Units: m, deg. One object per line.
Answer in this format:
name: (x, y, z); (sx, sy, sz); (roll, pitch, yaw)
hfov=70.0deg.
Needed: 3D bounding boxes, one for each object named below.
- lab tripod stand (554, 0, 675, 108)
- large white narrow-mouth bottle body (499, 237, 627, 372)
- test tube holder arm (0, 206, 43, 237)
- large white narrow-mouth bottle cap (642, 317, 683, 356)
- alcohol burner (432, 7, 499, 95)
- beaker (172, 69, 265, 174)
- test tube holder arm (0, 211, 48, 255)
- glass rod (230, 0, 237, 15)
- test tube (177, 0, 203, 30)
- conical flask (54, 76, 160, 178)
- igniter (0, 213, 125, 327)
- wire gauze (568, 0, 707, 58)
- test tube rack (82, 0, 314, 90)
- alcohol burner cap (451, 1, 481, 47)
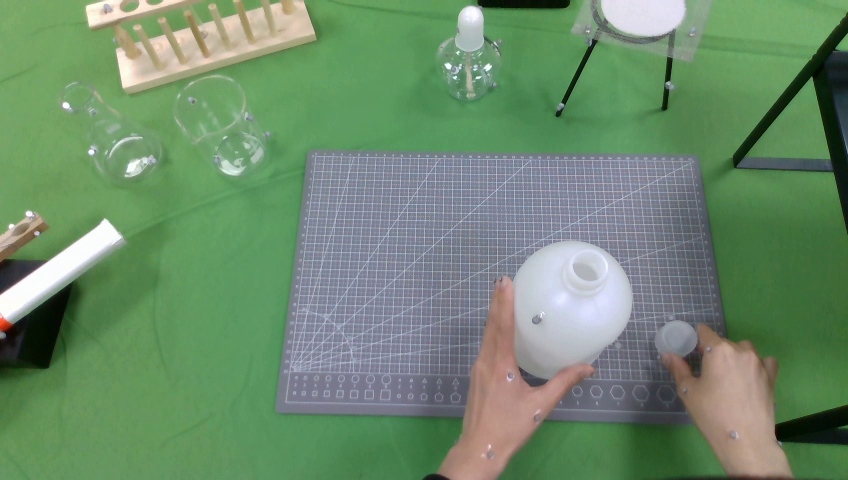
lab tripod stand: (0.217, -0.218, 0.676); (0.148, 0.132, 0.147); (0, 67, 0)
large white narrow-mouth bottle body: (0.122, 0.053, 0.533); (0.102, 0.196, 0.101); (-1, 69, 2)
test tube holder arm: (-0.460, 0.028, 0.600); (0.178, 0.015, 0.013); (-41, 73, -15)
large white narrow-mouth bottle cap: (0.239, 0.097, 0.606); (0.038, 0.024, 0.037); (-1, 69, 2)
alcohol burner: (0.048, -0.222, 0.693); (0.078, 0.120, 0.077); (0, 66, 0)
beaker: (-0.221, -0.122, 0.665); (0.074, 0.101, 0.083); (16, 69, 8)
test tube holder arm: (-0.423, 0.003, 0.610); (0.088, 0.015, 0.010); (-40, 72, -15)
glass rod: (-0.244, -0.325, 0.684); (0.008, 0.201, 0.008); (-3, 61, 6)
test tube: (-0.289, -0.298, 0.692); (0.017, 0.151, 0.017); (-2, 64, 5)
conical flask: (-0.347, -0.126, 0.656); (0.075, 0.123, 0.075); (-1, 67, 2)
igniter: (-0.416, 0.070, 0.579); (0.276, 0.025, 0.057); (-41, 74, -17)
wire gauze: (0.223, -0.245, 0.614); (0.121, 0.011, 0.124); (22, 71, 8)
test tube rack: (-0.266, -0.267, 0.732); (0.242, 0.086, 0.066); (-18, 68, -6)
alcohol burner cap: (0.046, -0.238, 0.659); (0.034, 0.048, 0.033); (0, 66, 1)
